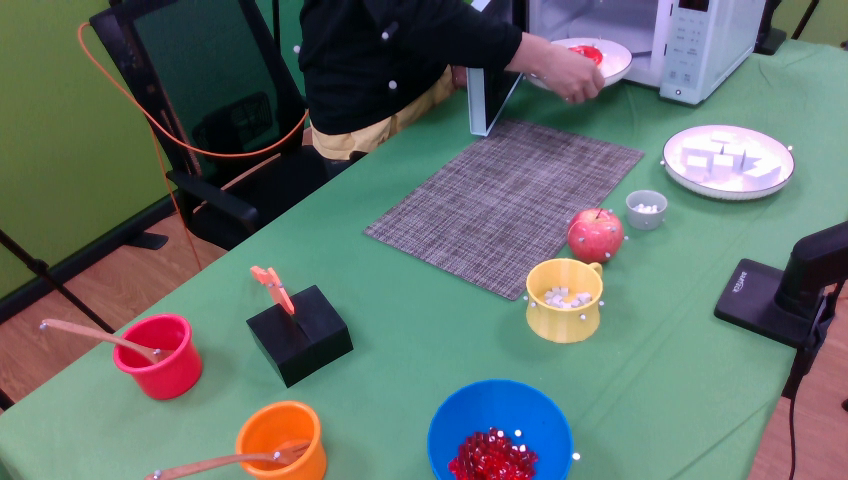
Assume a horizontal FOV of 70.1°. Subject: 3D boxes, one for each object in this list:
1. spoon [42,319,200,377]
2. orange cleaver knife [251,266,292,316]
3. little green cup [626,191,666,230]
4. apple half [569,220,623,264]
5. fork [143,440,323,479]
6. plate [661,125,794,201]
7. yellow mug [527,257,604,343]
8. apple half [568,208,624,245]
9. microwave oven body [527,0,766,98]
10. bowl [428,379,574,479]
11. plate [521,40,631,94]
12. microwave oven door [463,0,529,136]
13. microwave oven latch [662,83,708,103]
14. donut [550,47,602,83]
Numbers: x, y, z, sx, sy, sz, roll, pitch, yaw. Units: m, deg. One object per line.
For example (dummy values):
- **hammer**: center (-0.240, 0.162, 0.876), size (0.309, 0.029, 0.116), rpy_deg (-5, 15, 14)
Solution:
- **spoon**: center (-0.385, 0.135, 0.779), size (0.195, 0.021, 0.041), rpy_deg (29, 37, -26)
- **orange cleaver knife**: center (-0.221, 0.071, 0.873), size (0.012, 0.077, 0.210), rpy_deg (-25, 11, -21)
- **little green cup**: center (0.352, -0.046, 0.963), size (0.061, 0.039, 0.061), rpy_deg (-4, 40, 4)
- **apple half**: center (0.251, 0.010, 0.884), size (0.081, 0.081, 0.032), rpy_deg (3, 37, 12)
- **fork**: center (-0.190, 0.231, 0.631), size (0.028, 0.018, 0.209), rpy_deg (38, 14, 37)
- **plate**: center (0.513, -0.128, 1.035), size (0.207, 0.039, 0.206), rpy_deg (-4, 40, 4)
- **yellow mug**: center (0.201, 0.072, 0.825), size (0.131, 0.064, 0.099), rpy_deg (-32, 46, -27)
- **apple half**: center (0.259, -0.014, 0.914), size (0.080, 0.075, 0.053), rpy_deg (0, 36, 15)
- **microwave oven body**: center (0.472, -0.513, 1.317), size (0.438, 0.261, 0.327), rpy_deg (25, 51, 34)
- **bowl**: center (0.082, 0.233, 0.644), size (0.151, 0.077, 0.150), rpy_deg (-4, 39, 4)
- **plate**: center (0.294, -0.333, 1.178), size (0.209, 0.038, 0.208), rpy_deg (-5, 38, 4)
- **microwave oven door**: center (0.156, -0.410, 1.236), size (0.039, 0.245, 0.355), rpy_deg (10, 43, 19)
- **microwave oven latch**: center (0.518, -0.296, 1.204), size (0.078, 0.029, 0.030), rpy_deg (28, 52, 36)
- **donut**: center (0.294, -0.340, 1.168), size (0.099, 0.048, 0.098), rpy_deg (-7, 37, 6)
